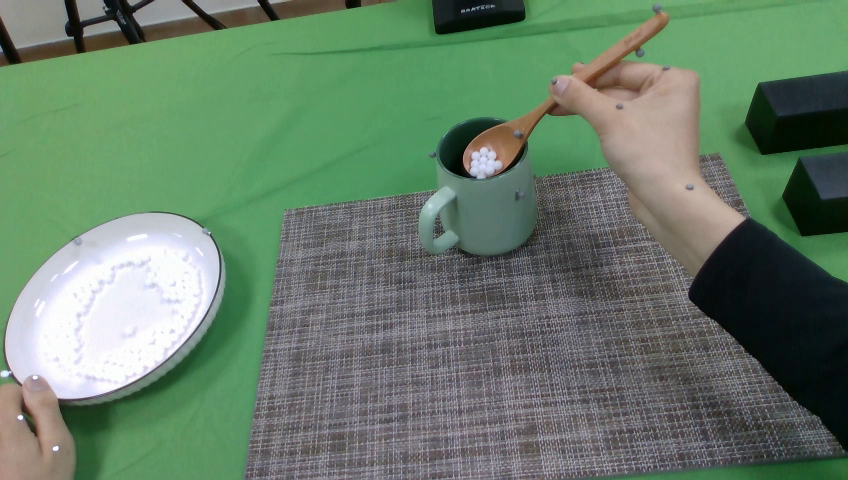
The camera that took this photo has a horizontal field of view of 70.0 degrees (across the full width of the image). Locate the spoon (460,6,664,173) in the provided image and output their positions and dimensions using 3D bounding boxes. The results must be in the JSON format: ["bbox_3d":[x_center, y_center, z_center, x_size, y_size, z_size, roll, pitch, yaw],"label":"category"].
[{"bbox_3d":[0.103,-0.115,0.479,0.194,0.022,0.041,-37,65,35],"label":"spoon"}]

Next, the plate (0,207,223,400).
[{"bbox_3d":[-0.289,0.058,0.578,0.209,0.038,0.207,-5,52,7],"label":"plate"}]

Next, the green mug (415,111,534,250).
[{"bbox_3d":[0.041,-0.041,0.545,0.125,0.106,0.091,-42,57,-20],"label":"green mug"}]
